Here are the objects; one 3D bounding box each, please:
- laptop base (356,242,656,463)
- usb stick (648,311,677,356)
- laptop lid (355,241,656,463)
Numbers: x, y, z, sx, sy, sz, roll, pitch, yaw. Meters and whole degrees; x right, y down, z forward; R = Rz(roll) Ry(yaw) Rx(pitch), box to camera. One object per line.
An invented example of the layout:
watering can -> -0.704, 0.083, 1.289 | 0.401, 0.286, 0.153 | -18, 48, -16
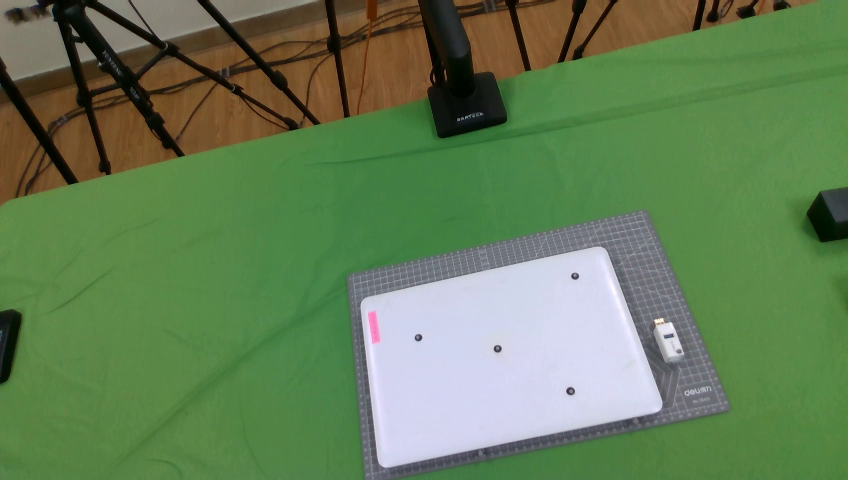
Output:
laptop base -> 0.093, 0.140, 0.799 | 0.354, 0.023, 0.233 | -13, 62, 3
usb stick -> 0.300, 0.115, 0.768 | 0.021, 0.027, 0.058 | -15, 55, 7
laptop lid -> 0.091, 0.137, 0.787 | 0.356, 0.013, 0.239 | -12, 61, 4
